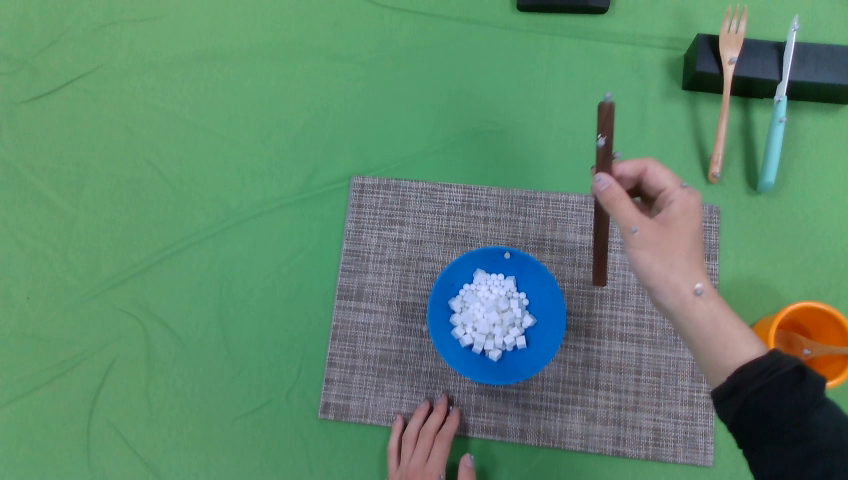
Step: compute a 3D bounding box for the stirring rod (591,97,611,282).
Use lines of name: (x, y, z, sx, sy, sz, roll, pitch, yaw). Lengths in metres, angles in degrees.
stirring rod: (0.152, -0.038, 0.523, 0.014, 0.006, 0.177, 2, 121, 17)

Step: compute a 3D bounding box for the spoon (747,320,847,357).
spoon: (0.438, 0.107, 0.622, 0.022, 0.192, 0.041, 16, 77, -38)

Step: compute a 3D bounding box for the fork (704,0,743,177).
fork: (0.350, -0.178, 0.715, 0.028, 0.018, 0.208, 3, 99, 2)

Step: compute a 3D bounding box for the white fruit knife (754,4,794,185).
white fruit knife: (0.412, -0.168, 0.707, 0.016, 0.027, 0.207, 6, 96, 3)

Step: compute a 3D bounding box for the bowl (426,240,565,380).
bowl: (0.079, 0.081, 0.684, 0.151, 0.077, 0.150, -1, 79, 4)
